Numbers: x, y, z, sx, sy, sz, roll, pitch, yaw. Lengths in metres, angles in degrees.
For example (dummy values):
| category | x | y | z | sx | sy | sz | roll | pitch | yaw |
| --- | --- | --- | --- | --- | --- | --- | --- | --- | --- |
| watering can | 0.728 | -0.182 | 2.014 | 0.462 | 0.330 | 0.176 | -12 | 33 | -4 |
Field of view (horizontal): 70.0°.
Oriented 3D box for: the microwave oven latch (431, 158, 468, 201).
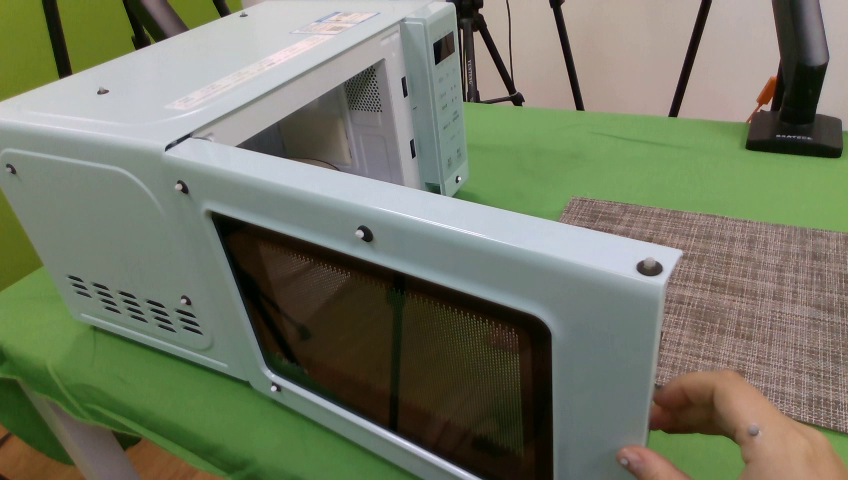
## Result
| category | x | y | z | sx | sy | sz | roll | pitch | yaw |
| --- | --- | --- | --- | --- | --- | --- | --- | --- | --- |
| microwave oven latch | 0.034 | -0.085 | 0.832 | 0.030 | 0.030 | 0.079 | 12 | 38 | 27 |

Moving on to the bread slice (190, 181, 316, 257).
| category | x | y | z | sx | sy | sz | roll | pitch | yaw |
| --- | --- | --- | --- | --- | --- | --- | --- | --- | --- |
| bread slice | -0.197 | -0.033 | 0.720 | 0.104 | 0.019 | 0.131 | 19 | 43 | 33 |

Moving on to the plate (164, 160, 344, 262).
| category | x | y | z | sx | sy | sz | roll | pitch | yaw |
| --- | --- | --- | --- | --- | --- | --- | --- | --- | --- |
| plate | -0.195 | -0.033 | 0.717 | 0.209 | 0.038 | 0.207 | -6 | 33 | 4 |

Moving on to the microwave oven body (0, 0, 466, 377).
| category | x | y | z | sx | sy | sz | roll | pitch | yaw |
| --- | --- | --- | --- | --- | --- | --- | --- | --- | --- |
| microwave oven body | -0.190 | -0.097 | 0.718 | 0.324 | 0.262 | 0.440 | 11 | 38 | 26 |

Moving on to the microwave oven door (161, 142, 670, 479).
| category | x | y | z | sx | sy | sz | roll | pitch | yaw |
| --- | --- | --- | --- | --- | --- | --- | --- | --- | --- |
| microwave oven door | -0.024 | 0.071 | 0.412 | 0.353 | 0.246 | 0.039 | 16 | 40 | 32 |
